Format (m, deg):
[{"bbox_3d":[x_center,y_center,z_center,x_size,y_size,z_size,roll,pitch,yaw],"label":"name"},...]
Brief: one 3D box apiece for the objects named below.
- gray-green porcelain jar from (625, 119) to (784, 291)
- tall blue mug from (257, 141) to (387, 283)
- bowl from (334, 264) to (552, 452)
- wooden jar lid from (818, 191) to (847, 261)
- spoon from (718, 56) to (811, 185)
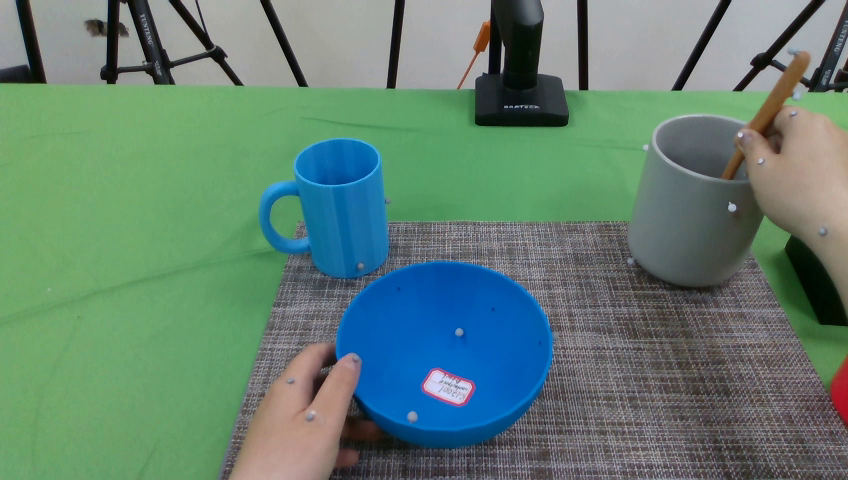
[{"bbox_3d":[0.241,-0.026,0.539,0.106,0.127,0.105,-1,41,1],"label":"gray-green porcelain jar"},{"bbox_3d":[-0.087,-0.018,0.551,0.107,0.109,0.077,-31,50,-30],"label":"tall blue mug"},{"bbox_3d":[0.014,0.096,0.441,0.151,0.077,0.150,0,41,1],"label":"bowl"},{"bbox_3d":[0.397,-0.004,0.520,0.108,0.021,0.107,-1,41,1],"label":"wooden jar lid"},{"bbox_3d":[0.249,-0.056,0.483,0.022,0.195,0.041,-9,49,-15],"label":"spoon"}]
